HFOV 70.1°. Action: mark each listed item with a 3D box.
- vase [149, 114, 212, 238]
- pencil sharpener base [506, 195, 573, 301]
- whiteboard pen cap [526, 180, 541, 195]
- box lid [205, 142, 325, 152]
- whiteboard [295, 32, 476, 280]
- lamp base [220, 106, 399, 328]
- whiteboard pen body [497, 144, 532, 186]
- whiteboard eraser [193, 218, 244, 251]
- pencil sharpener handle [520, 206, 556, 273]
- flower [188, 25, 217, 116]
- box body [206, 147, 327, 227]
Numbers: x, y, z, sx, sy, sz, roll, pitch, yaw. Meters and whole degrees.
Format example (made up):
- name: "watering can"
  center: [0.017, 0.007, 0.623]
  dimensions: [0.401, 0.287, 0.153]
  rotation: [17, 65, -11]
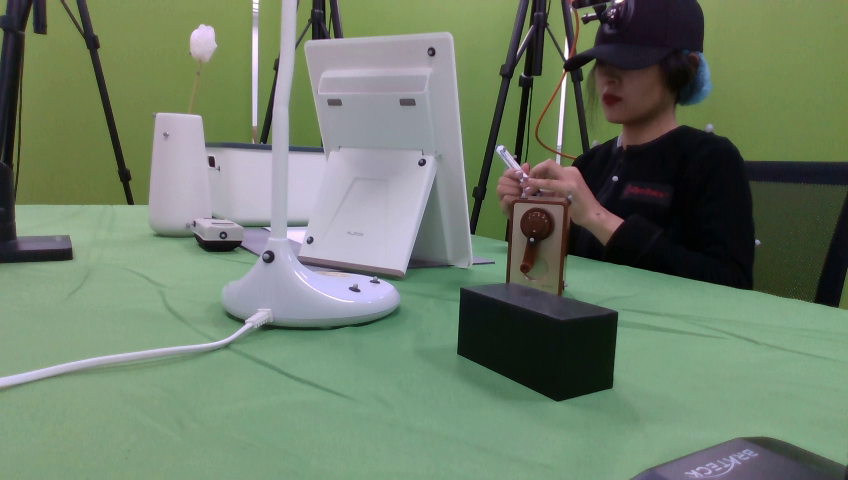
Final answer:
- name: "vase"
  center: [-0.405, -0.106, 1.005]
  dimensions: [0.098, 0.200, 0.098]
  rotation: [2, 6, 0]
- name: "pencil sharpener base"
  center: [0.127, 0.007, 0.663]
  dimensions: [0.061, 0.107, 0.077]
  rotation: [5, 8, 15]
- name: "whiteboard pen cap"
  center: [0.183, -0.089, 1.013]
  dimensions: [0.018, 0.018, 0.033]
  rotation: [1, 27, -13]
- name: "box lid"
  center: [-0.270, -0.196, 1.311]
  dimensions: [0.373, 0.015, 0.262]
  rotation: [-2, 9, -30]
- name: "whiteboard"
  center: [-0.076, -0.084, 0.747]
  dimensions: [0.216, 0.305, 0.144]
  rotation: [7, 28, 29]
- name: "lamp base"
  center: [-0.102, -0.023, 0.531]
  dimensions: [0.160, 0.180, 0.179]
  rotation: [4, 10, 10]
- name: "whiteboard pen body"
  center: [0.162, -0.125, 1.054]
  dimensions: [0.017, 0.017, 0.140]
  rotation: [-1, 41, -26]
- name: "whiteboard eraser"
  center: [-0.307, -0.010, 0.900]
  dimensions: [0.056, 0.042, 0.112]
  rotation: [-4, 10, -28]
- name: "pencil sharpener handle"
  center: [0.111, 0.000, 0.613]
  dimensions: [0.036, 0.067, 0.031]
  rotation: [13, 10, 14]
- name: "flower"
  center: [-0.394, -0.189, 1.011]
  dimensions: [0.044, 0.361, 0.038]
  rotation: [-1, -13, 27]
- name: "box body"
  center: [-0.276, -0.122, 1.320]
  dimensions: [0.366, 0.160, 0.253]
  rotation: [-2, 9, -30]
